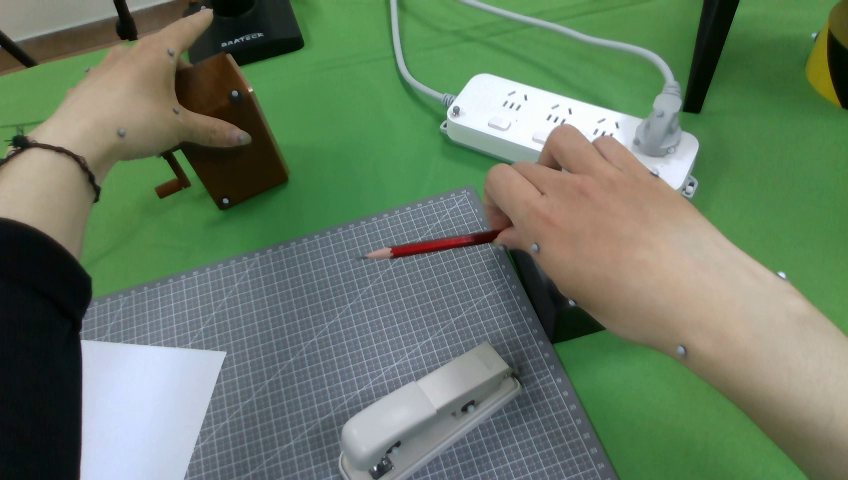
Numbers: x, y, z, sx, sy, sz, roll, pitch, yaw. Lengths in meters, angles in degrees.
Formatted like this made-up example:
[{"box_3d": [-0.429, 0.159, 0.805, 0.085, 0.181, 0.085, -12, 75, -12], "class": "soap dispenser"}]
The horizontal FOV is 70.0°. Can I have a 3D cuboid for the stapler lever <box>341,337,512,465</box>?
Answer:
[{"box_3d": [0.002, 0.097, 0.378, 0.118, 0.040, 0.026, -31, 59, -17], "class": "stapler lever"}]

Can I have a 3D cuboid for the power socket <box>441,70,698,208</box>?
[{"box_3d": [0.123, -0.091, 0.526, 0.225, 0.033, 0.072, 23, 60, 21], "class": "power socket"}]

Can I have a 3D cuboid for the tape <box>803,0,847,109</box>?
[{"box_3d": [0.411, -0.169, 0.540, 0.117, 0.053, 0.115, -2, 56, 4], "class": "tape"}]

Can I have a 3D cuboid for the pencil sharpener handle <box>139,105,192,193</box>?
[{"box_3d": [-0.212, -0.070, 0.483, 0.030, 0.068, 0.035, -29, 37, -12], "class": "pencil sharpener handle"}]

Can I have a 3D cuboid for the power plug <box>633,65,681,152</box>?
[{"box_3d": [0.199, -0.099, 0.495, 0.035, 0.053, 0.072, 33, 65, 25], "class": "power plug"}]

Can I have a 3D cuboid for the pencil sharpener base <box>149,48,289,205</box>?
[{"box_3d": [-0.170, -0.091, 0.508, 0.077, 0.108, 0.060, -29, 58, -12], "class": "pencil sharpener base"}]

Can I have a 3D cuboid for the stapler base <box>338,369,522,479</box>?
[{"box_3d": [0.003, 0.113, 0.397, 0.130, 0.024, 0.041, -31, 59, -17], "class": "stapler base"}]

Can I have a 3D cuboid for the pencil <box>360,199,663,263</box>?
[{"box_3d": [0.057, -0.005, 0.369, 0.194, 0.012, 0.012, -10, 54, -9], "class": "pencil"}]
